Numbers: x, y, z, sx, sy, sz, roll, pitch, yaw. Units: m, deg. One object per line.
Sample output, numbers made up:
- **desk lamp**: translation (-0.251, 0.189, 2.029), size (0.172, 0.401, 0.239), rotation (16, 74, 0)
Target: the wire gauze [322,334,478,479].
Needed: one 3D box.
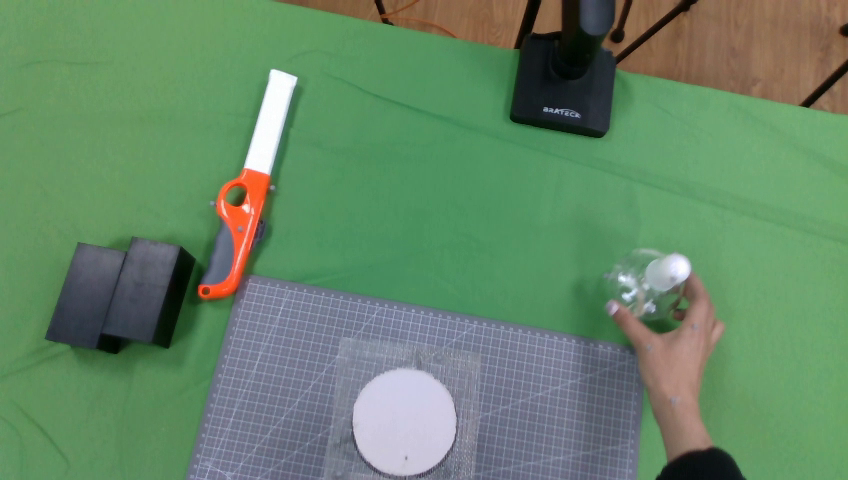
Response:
- **wire gauze**: translation (-0.018, 0.144, 0.505), size (0.125, 0.011, 0.121), rotation (7, 73, -3)

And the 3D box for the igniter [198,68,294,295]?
- **igniter**: translation (-0.195, -0.068, 0.679), size (0.057, 0.025, 0.275), rotation (16, 73, -15)

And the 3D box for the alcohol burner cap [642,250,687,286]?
- **alcohol burner cap**: translation (0.238, 0.026, 0.593), size (0.034, 0.048, 0.033), rotation (0, 78, -2)

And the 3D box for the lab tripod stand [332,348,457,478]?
- **lab tripod stand**: translation (-0.021, 0.166, 0.568), size (0.148, 0.132, 0.147), rotation (1, 72, -2)

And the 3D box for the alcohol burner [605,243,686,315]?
- **alcohol burner**: translation (0.235, 0.036, 0.628), size (0.078, 0.119, 0.077), rotation (2, 72, -5)
